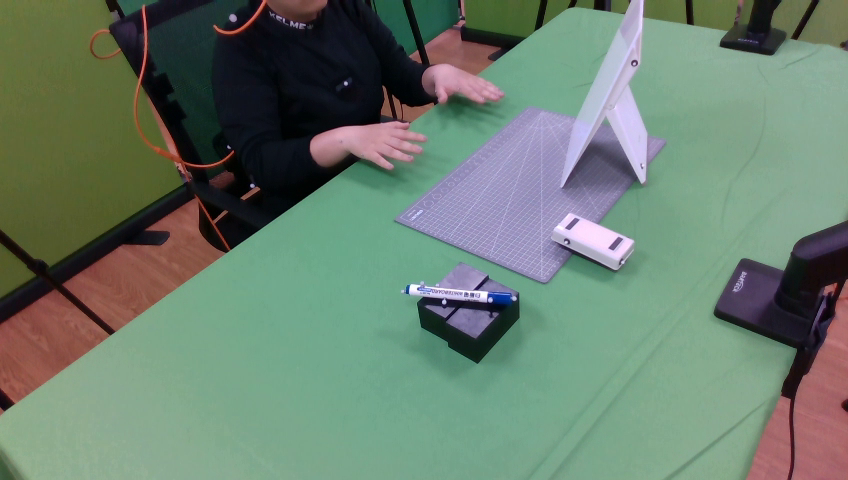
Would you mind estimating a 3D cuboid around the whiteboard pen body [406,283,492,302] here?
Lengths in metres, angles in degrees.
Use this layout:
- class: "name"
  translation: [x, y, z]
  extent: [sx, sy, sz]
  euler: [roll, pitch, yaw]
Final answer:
- class: "whiteboard pen body"
  translation: [0.044, 0.072, 0.812]
  extent: [0.140, 0.017, 0.017]
  euler: [4, 42, 14]

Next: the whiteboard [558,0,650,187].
- class: "whiteboard"
  translation: [0.361, -0.238, 1.026]
  extent: [0.144, 0.306, 0.217]
  euler: [21, 45, 4]

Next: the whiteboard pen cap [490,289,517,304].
- class: "whiteboard pen cap"
  translation: [0.105, 0.074, 0.798]
  extent: [0.033, 0.018, 0.018]
  euler: [-7, 37, -28]

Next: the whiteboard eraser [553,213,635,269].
- class: "whiteboard eraser"
  translation: [0.257, 0.003, 0.918]
  extent: [0.112, 0.042, 0.056]
  euler: [27, 49, 30]
